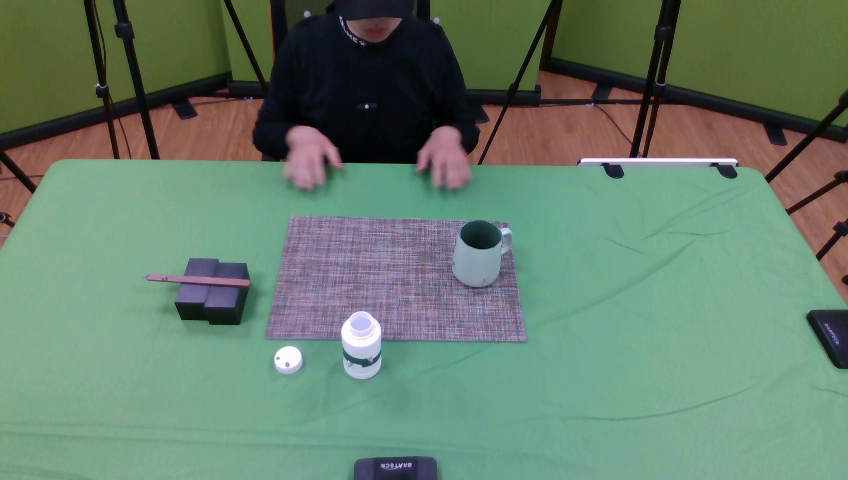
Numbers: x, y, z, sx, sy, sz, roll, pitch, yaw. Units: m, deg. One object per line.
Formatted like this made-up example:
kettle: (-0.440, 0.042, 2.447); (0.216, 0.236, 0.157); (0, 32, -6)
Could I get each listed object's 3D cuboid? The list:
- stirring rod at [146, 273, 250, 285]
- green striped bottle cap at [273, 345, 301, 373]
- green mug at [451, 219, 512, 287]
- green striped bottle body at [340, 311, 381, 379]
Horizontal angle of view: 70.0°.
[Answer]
stirring rod: (-0.389, 0.068, 1.044); (0.176, 0.006, 0.014); (3, 46, -2)
green striped bottle cap: (-0.225, 0.195, 0.997); (0.044, 0.020, 0.044); (2, 50, -2)
green mug: (0.112, 0.019, 1.125); (0.125, 0.105, 0.092); (-24, 52, -25)
green striped bottle body: (-0.101, 0.164, 0.964); (0.063, 0.120, 0.063); (2, 46, -2)
